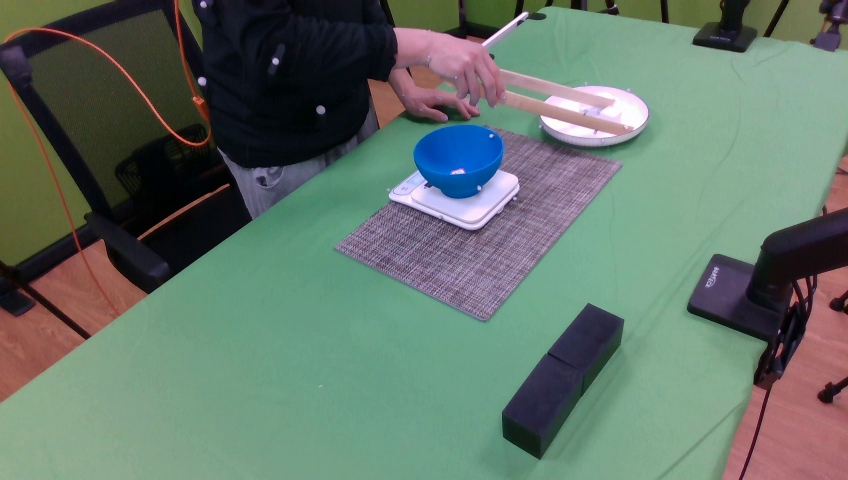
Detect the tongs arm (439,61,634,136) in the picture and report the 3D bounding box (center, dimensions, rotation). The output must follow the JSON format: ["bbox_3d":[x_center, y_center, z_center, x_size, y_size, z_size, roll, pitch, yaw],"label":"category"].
[{"bbox_3d":[0.207,-0.241,1.056,0.388,0.026,0.050,8,47,-25],"label":"tongs arm"}]

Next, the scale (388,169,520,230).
[{"bbox_3d":[0.050,-0.090,1.051,0.199,0.032,0.149,24,49,31],"label":"scale"}]

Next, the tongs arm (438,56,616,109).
[{"bbox_3d":[0.197,-0.279,1.089,0.390,0.027,0.028,5,52,-28],"label":"tongs arm"}]

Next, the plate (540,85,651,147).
[{"bbox_3d":[0.333,-0.238,1.186,0.207,0.039,0.206,-4,41,4],"label":"plate"}]

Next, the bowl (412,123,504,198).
[{"bbox_3d":[0.060,-0.123,1.006,0.151,0.077,0.150,-5,41,5],"label":"bowl"}]
